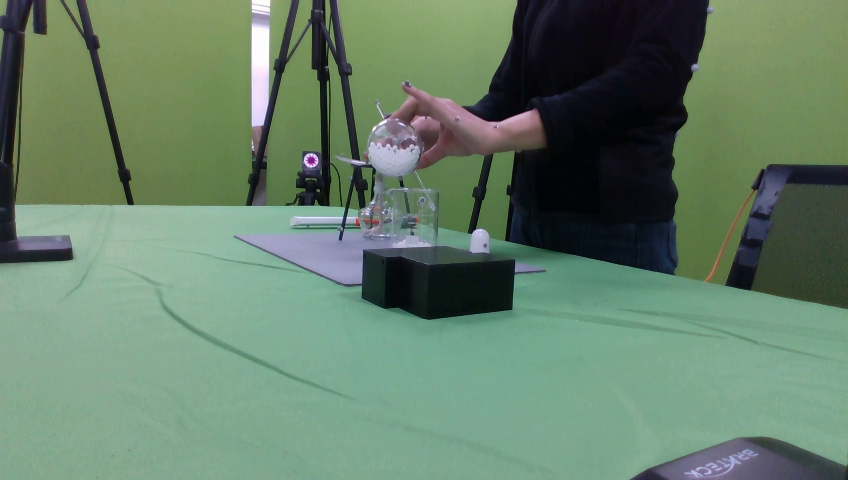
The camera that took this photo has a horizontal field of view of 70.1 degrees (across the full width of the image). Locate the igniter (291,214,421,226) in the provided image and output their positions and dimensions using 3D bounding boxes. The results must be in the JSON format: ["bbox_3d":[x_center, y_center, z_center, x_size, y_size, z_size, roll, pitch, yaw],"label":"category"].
[{"bbox_3d":[-0.135,-0.041,1.250,0.278,0.025,0.057,-1,-3,-28],"label":"igniter"}]

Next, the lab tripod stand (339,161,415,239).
[{"bbox_3d":[-0.082,-0.070,1.059,0.148,0.131,0.148,4,6,0],"label":"lab tripod stand"}]

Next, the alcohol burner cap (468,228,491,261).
[{"bbox_3d":[0.082,0.006,0.878,0.034,0.048,0.034,3,6,0],"label":"alcohol burner cap"}]

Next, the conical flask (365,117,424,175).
[{"bbox_3d":[-0.030,-0.129,0.830,0.075,0.075,0.122,3,10,9],"label":"conical flask"}]

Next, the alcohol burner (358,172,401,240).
[{"bbox_3d":[-0.077,-0.061,1.065,0.078,0.119,0.078,4,9,0],"label":"alcohol burner"}]

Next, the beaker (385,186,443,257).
[{"bbox_3d":[-0.016,-0.028,0.886,0.084,0.100,0.074,1,7,-9],"label":"beaker"}]

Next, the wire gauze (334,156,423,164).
[{"bbox_3d":[-0.081,-0.137,1.051,0.122,0.011,0.124,0,8,-30],"label":"wire gauze"}]

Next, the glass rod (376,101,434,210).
[{"bbox_3d":[-0.029,-0.128,0.901,0.008,0.199,0.008,-24,-18,-8],"label":"glass rod"}]
